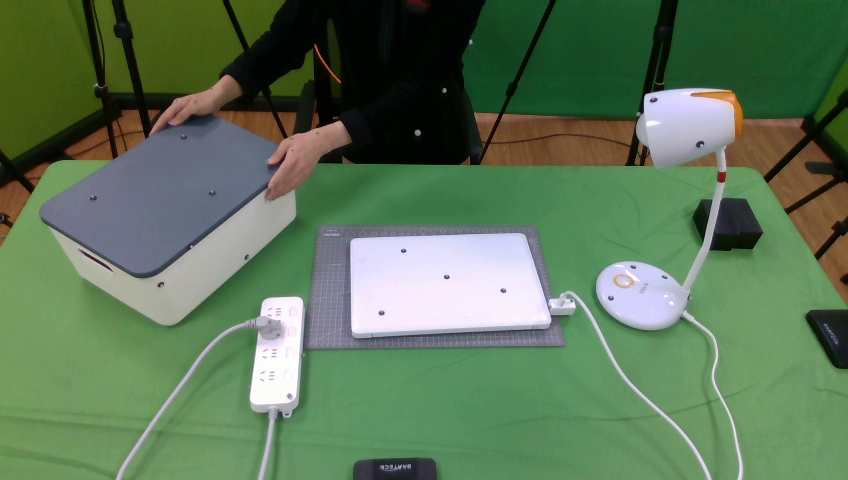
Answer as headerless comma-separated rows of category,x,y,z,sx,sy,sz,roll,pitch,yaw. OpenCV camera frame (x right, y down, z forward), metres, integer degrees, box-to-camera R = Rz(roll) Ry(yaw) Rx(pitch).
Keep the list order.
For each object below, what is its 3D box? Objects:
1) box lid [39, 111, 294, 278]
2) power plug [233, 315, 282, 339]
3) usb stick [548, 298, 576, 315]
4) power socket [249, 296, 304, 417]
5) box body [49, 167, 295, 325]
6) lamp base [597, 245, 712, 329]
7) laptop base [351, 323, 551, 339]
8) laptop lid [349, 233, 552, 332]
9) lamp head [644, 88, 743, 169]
box lid,-0.435,-0.097,1.055,0.262,0.015,0.370,25,49,18
power plug,-0.271,0.144,0.999,0.072,0.053,0.035,6,47,3
usb stick,0.240,0.120,1.085,0.059,0.027,0.021,-2,51,-2
power socket,-0.239,0.182,0.996,0.072,0.033,0.225,-2,47,-5
box body,-0.437,-0.046,1.110,0.253,0.161,0.363,24,49,19
lamp base,0.418,0.051,1.071,0.179,0.181,0.160,22,49,13
laptop base,0.040,0.081,1.125,0.355,0.023,0.234,-2,43,-6
laptop lid,0.040,0.071,1.118,0.357,0.013,0.240,-1,44,-5
lamp head,0.380,-0.160,0.851,0.122,0.113,0.112,-4,42,25
